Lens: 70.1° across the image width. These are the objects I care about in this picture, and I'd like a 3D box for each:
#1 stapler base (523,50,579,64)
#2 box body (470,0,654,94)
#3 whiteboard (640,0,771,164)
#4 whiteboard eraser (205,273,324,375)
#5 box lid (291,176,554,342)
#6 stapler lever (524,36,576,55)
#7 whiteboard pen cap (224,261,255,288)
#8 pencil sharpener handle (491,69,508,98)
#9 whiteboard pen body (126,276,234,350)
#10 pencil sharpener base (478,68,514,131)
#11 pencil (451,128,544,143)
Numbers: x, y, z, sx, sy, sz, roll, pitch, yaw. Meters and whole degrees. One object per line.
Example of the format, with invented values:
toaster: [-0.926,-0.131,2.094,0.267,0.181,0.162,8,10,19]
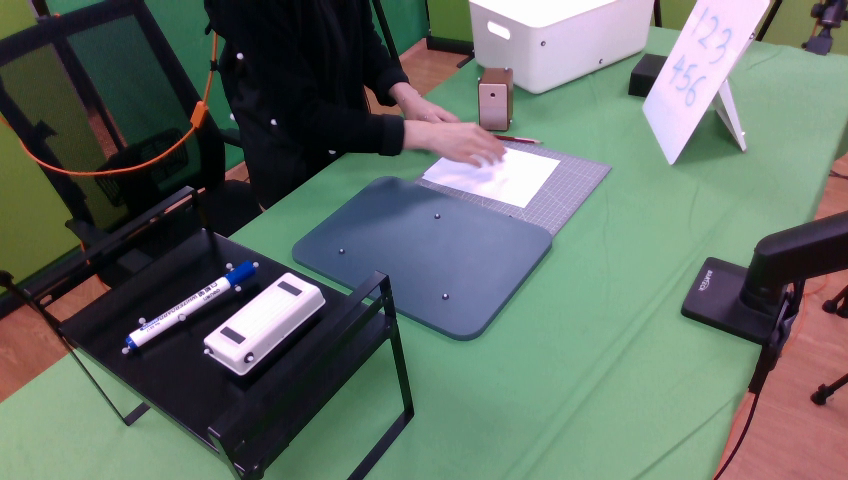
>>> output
stapler base: [0.301,-0.436,1.434,0.130,0.024,0.041,5,40,17]
box body: [0.319,-0.498,1.405,0.365,0.161,0.252,-26,43,-21]
whiteboard: [0.543,-0.299,1.076,0.144,0.305,0.216,12,40,-7]
whiteboard eraser: [-0.157,0.084,0.605,0.055,0.042,0.113,24,49,30]
box lid: [-0.005,0.011,0.972,0.368,0.015,0.264,21,49,30]
stapler lever: [0.296,-0.456,1.418,0.117,0.040,0.027,4,40,17]
whiteboard pen cap: [-0.207,0.039,0.677,0.033,0.018,0.018,-36,47,-18]
pencil sharpener handle: [0.155,-0.329,1.254,0.036,0.068,0.030,17,43,3]
whiteboard pen body: [-0.251,0.071,0.649,0.141,0.017,0.017,-36,48,-26]
pencil sharpener base: [0.148,-0.286,1.225,0.061,0.107,0.076,5,41,15]
pencil: [0.145,-0.207,1.204,0.193,0.012,0.012,11,43,20]
